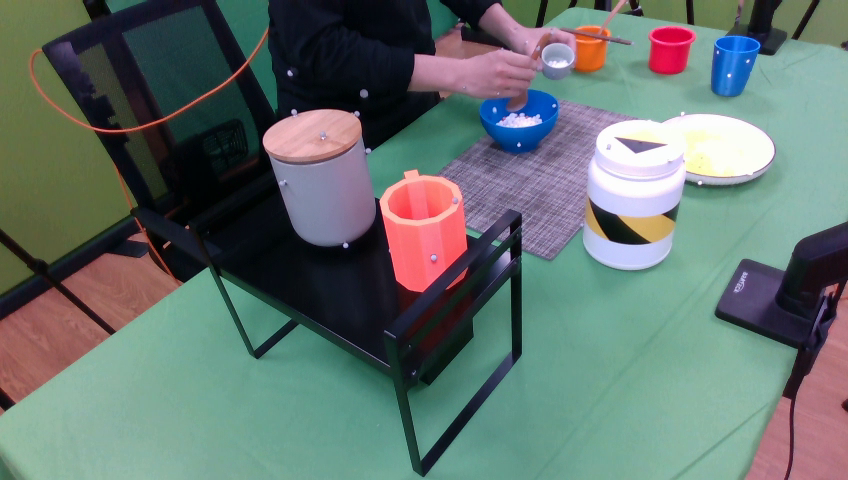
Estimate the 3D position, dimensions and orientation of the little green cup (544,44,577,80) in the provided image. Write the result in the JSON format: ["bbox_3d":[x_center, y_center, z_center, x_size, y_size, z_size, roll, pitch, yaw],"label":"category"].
[{"bbox_3d":[0.259,-0.339,1.158,0.061,0.039,0.061,0,62,0],"label":"little green cup"}]

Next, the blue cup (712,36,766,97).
[{"bbox_3d":[0.627,-0.350,1.227,0.092,0.100,0.092,-4,39,4],"label":"blue cup"}]

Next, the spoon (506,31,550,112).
[{"bbox_3d":[0.181,-0.287,1.049,0.042,0.194,0.021,-9,60,-14],"label":"spoon"}]

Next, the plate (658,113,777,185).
[{"bbox_3d":[0.506,-0.158,1.073,0.209,0.038,0.208,-4,40,4],"label":"plate"}]

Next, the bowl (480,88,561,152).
[{"bbox_3d":[0.185,-0.222,1.161,0.151,0.077,0.150,-4,40,4],"label":"bowl"}]

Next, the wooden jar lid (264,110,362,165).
[{"bbox_3d":[-0.122,-0.112,0.673,0.108,0.021,0.108,-4,37,4],"label":"wooden jar lid"}]

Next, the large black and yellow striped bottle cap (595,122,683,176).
[{"bbox_3d":[0.293,-0.126,0.826,0.115,0.019,0.114,-3,40,3],"label":"large black and yellow striped bottle cap"}]

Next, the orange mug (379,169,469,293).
[{"bbox_3d":[-0.002,-0.019,0.665,0.083,0.101,0.125,-12,45,-4],"label":"orange mug"}]

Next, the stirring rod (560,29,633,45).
[{"bbox_3d":[0.381,-0.452,1.345,0.174,0.006,0.014,26,50,33],"label":"stirring rod"}]

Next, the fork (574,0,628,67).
[{"bbox_3d":[0.413,-0.481,1.377,0.207,0.019,0.028,-56,43,12],"label":"fork"}]

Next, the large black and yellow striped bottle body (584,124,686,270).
[{"bbox_3d":[0.304,-0.063,0.880,0.131,0.185,0.130,-5,41,5],"label":"large black and yellow striped bottle body"}]

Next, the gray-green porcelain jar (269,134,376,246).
[{"bbox_3d":[-0.115,-0.064,0.715,0.106,0.127,0.105,-4,40,4],"label":"gray-green porcelain jar"}]
